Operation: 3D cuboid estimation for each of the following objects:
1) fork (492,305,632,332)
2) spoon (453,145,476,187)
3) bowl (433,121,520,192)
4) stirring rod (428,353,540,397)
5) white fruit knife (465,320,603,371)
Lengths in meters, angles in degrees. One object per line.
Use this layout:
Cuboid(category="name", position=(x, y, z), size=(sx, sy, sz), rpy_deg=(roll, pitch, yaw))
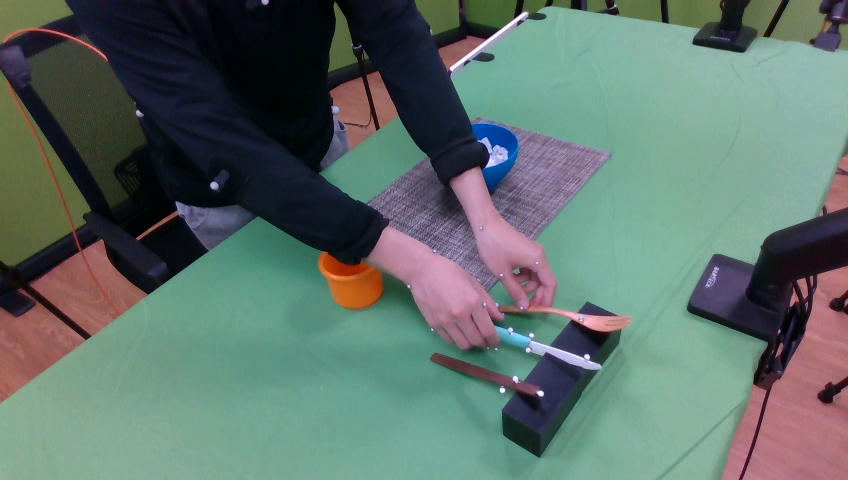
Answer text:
Cuboid(category="fork", position=(0.170, 0.097, 0.783), size=(0.205, 0.019, 0.028), rpy_deg=(4, 36, 43))
Cuboid(category="spoon", position=(0.069, -0.125, 1.000), size=(0.041, 0.022, 0.193), rpy_deg=(-11, 21, 6))
Cuboid(category="bowl", position=(0.093, -0.137, 1.064), size=(0.151, 0.077, 0.150), rpy_deg=(-4, 41, 4))
Cuboid(category="stirring rod", position=(0.068, 0.162, 0.736), size=(0.174, 0.006, 0.014), rpy_deg=(7, 40, 46))
Cuboid(category="white fruit knife", position=(0.128, 0.129, 0.749), size=(0.205, 0.027, 0.016), rpy_deg=(10, 45, 43))
